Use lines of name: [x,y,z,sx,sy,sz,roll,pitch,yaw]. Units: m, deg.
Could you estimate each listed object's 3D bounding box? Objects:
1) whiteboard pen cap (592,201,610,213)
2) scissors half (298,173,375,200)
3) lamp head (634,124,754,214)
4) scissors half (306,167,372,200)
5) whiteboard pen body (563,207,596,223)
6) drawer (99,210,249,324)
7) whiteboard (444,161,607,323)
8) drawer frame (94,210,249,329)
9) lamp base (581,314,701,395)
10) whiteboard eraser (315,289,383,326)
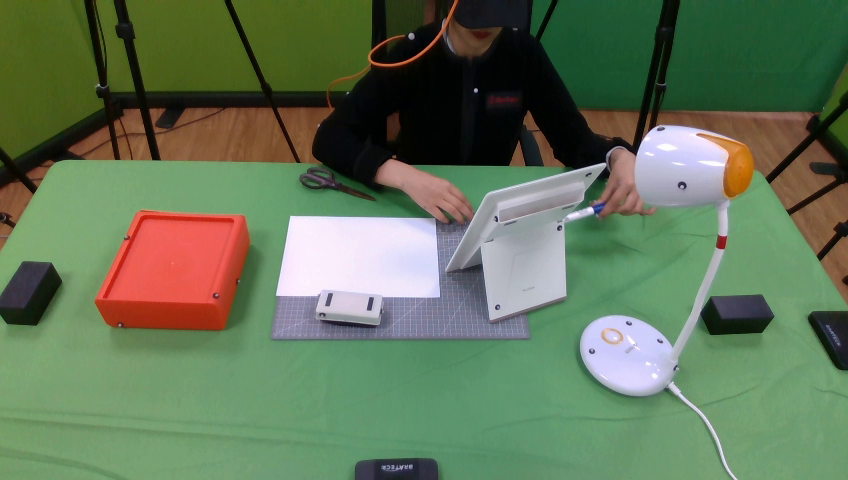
whiteboard pen cap: [0.347,-0.064,1.191,0.033,0.018,0.018,-19,50,-8]
scissors half: [-0.188,-0.110,1.296,0.175,0.013,0.040,15,42,5]
lamp head: [0.351,-0.089,0.775,0.112,0.113,0.122,-30,30,-28]
scissors half: [-0.180,-0.120,1.311,0.174,0.013,0.040,27,39,18]
whiteboard pen body: [0.291,-0.046,1.187,0.141,0.017,0.017,-17,49,-5]
drawer: [-0.435,0.044,1.081,0.194,0.073,0.210,3,46,-2]
whiteboard: [0.186,0.025,1.029,0.217,0.306,0.143,-14,68,-18]
drawer frame: [-0.435,0.048,1.076,0.202,0.083,0.212,2,47,-3]
lamp base: [0.361,0.144,0.972,0.178,0.181,0.160,34,53,23]
whiteboard eraser: [-0.130,0.119,1.054,0.113,0.042,0.055,6,47,1]
